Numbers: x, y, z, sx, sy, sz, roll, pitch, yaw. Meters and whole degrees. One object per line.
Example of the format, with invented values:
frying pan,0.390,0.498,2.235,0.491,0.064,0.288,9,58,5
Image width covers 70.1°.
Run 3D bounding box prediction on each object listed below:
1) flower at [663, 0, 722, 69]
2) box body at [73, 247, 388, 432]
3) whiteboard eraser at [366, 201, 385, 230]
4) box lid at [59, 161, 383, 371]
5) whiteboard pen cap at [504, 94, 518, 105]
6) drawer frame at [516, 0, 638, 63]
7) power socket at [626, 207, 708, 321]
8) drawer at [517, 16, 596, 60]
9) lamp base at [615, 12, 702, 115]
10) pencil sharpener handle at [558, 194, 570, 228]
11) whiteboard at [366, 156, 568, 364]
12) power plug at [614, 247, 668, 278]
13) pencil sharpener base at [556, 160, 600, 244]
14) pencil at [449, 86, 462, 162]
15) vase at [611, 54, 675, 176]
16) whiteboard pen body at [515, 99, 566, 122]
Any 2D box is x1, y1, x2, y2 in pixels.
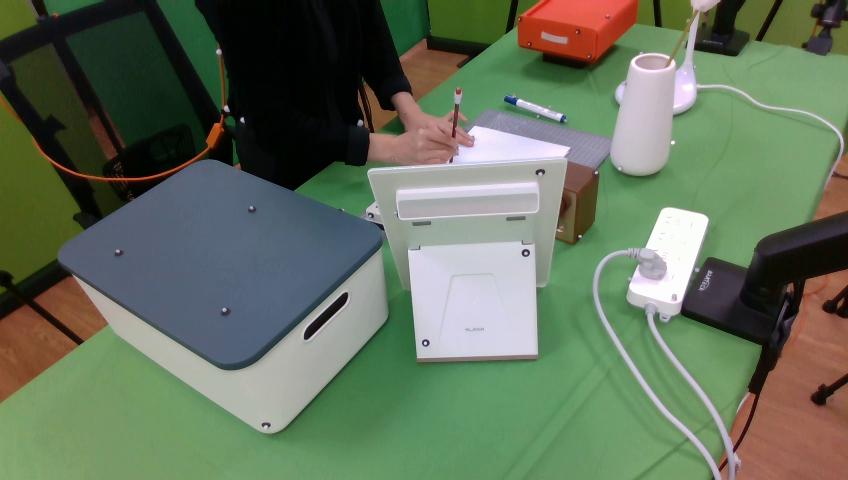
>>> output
flower,0.379,-0.261,0.965,0.044,0.362,0.038,20,53,5
box body,-0.255,0.065,0.827,0.361,0.161,0.255,21,48,29
whiteboard eraser,-0.037,-0.038,1.006,0.112,0.042,0.055,16,47,25
box lid,-0.262,0.009,0.777,0.369,0.015,0.264,21,48,29
whiteboard pen cap,0.189,-0.299,1.292,0.033,0.018,0.018,31,53,28
drawer frame,0.355,-0.508,1.411,0.200,0.083,0.214,23,51,32
power socket,0.359,0.025,0.886,0.072,0.033,0.227,16,46,26
drawer,0.352,-0.506,1.405,0.193,0.073,0.212,23,49,32
lamp base,0.484,-0.363,1.211,0.180,0.181,0.159,-15,41,-14
pencil sharpener handle,0.195,-0.038,0.908,0.035,0.068,0.031,24,50,30
whiteboard,0.059,0.050,0.738,0.217,0.307,0.143,-2,60,6
power plug,0.306,0.031,0.851,0.072,0.053,0.035,24,49,33
pencil sharpener base,0.228,-0.057,0.945,0.061,0.107,0.077,24,50,31
pencil,0.053,-0.192,1.058,0.012,0.194,0.012,2,55,-2
vase,0.377,-0.209,1.031,0.098,0.201,0.097,-3,40,3
whiteboard pen body,0.234,-0.274,1.262,0.139,0.017,0.017,28,51,29
